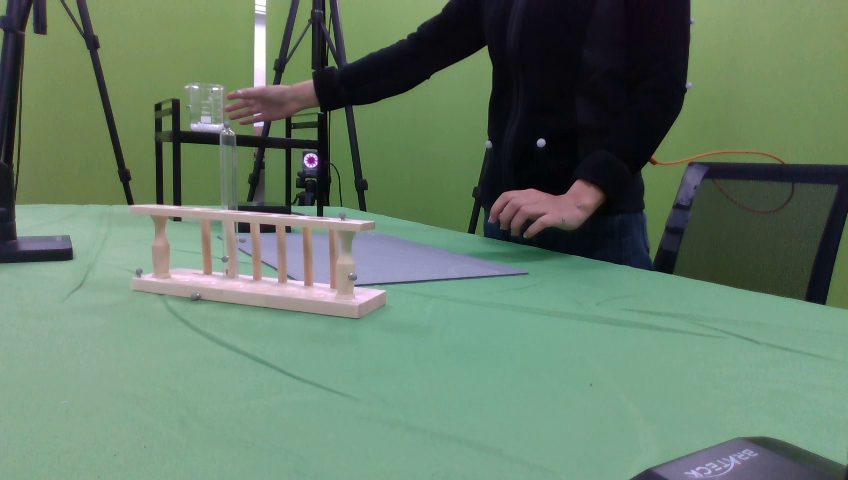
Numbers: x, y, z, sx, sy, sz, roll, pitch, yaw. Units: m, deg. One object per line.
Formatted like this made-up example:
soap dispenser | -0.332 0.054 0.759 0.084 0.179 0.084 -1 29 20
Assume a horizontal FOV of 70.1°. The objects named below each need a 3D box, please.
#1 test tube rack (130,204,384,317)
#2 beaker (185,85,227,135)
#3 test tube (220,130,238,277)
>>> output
test tube rack | -0.163 0.013 0.589 0.242 0.085 0.067 5 8 17
beaker | -0.460 -0.275 1.282 0.084 0.100 0.073 -3 8 -27
test tube | -0.197 -0.036 0.613 0.017 0.150 0.017 2 8 0
